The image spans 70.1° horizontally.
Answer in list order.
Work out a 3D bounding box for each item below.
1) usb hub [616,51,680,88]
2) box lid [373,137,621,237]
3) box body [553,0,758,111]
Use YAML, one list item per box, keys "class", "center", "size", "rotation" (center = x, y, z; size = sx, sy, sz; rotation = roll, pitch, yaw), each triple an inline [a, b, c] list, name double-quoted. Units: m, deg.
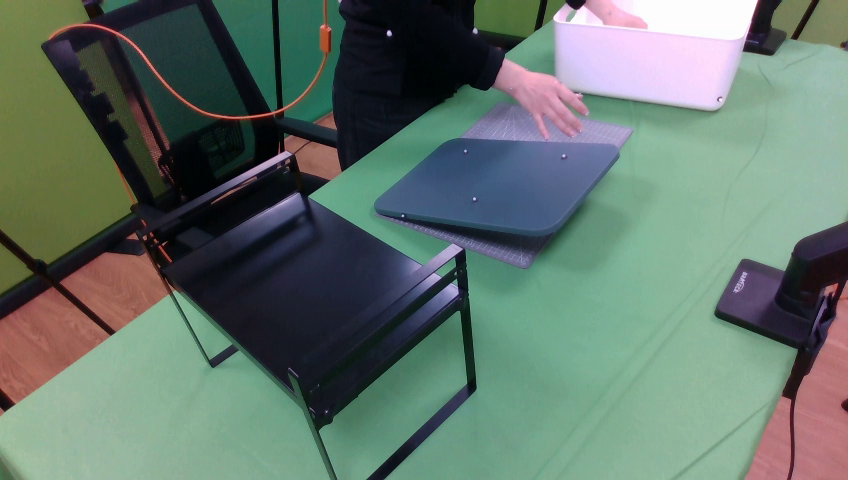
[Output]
- class: "usb hub"
  center: [0.481, -0.370, 1.304]
  size: [0.124, 0.025, 0.049]
  rotation: [29, 54, 22]
- class: "box lid"
  center: [0.113, -0.103, 1.025]
  size: [0.368, 0.015, 0.264]
  rotation: [10, 41, 39]
- class: "box body"
  center: [0.480, -0.417, 1.282]
  size: [0.362, 0.161, 0.254]
  rotation: [16, 46, 25]
